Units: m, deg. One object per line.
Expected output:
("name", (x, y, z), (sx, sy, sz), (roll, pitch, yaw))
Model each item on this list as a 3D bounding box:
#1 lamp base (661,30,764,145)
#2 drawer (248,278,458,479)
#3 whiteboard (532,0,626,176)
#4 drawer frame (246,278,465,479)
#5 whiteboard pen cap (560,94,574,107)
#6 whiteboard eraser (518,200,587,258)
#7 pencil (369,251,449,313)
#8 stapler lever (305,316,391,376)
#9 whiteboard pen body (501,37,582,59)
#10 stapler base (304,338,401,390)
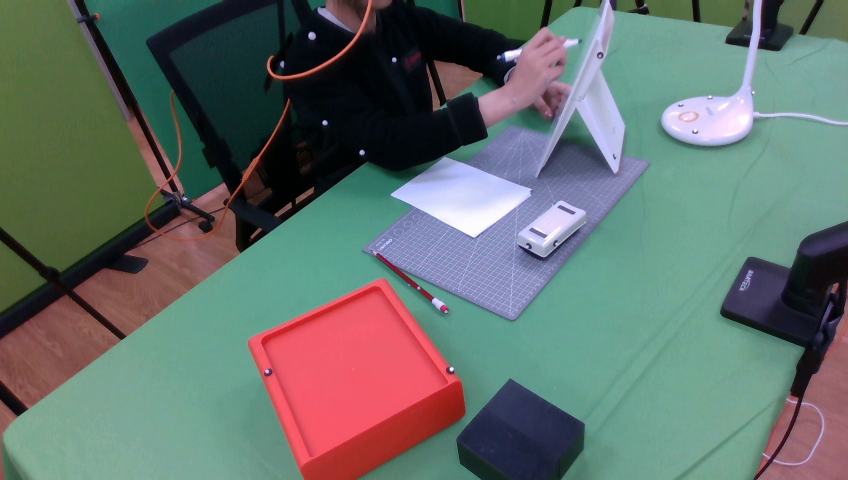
("lamp base", (0.535, -0.287, 1.096), (0.179, 0.181, 0.159), (-10, 40, -4))
("drawer", (-0.092, 0.167, 0.756), (0.195, 0.073, 0.210), (-24, 43, -18))
("whiteboard", (0.321, -0.258, 1.050), (0.144, 0.306, 0.217), (21, 45, 5))
("drawer frame", (-0.088, 0.168, 0.752), (0.202, 0.083, 0.211), (-24, 43, -18))
("whiteboard pen cap", (0.301, -0.293, 1.272), (0.018, 0.018, 0.033), (26, 50, 34))
("whiteboard eraser", (0.201, -0.016, 0.943), (0.113, 0.042, 0.055), (-37, 46, -29))
("pencil", (-0.028, 0.060, 0.924), (0.012, 0.012, 0.192), (-33, 46, -25))
("stapler lever", (-0.100, 0.136, 0.790), (0.118, 0.040, 0.026), (-23, 44, -12))
("whiteboard pen body", (0.204, -0.336, 1.051), (0.140, 0.017, 0.017), (-10, 40, 9))
("stapler base", (-0.096, 0.159, 0.813), (0.131, 0.024, 0.041), (-17, 42, -17))
